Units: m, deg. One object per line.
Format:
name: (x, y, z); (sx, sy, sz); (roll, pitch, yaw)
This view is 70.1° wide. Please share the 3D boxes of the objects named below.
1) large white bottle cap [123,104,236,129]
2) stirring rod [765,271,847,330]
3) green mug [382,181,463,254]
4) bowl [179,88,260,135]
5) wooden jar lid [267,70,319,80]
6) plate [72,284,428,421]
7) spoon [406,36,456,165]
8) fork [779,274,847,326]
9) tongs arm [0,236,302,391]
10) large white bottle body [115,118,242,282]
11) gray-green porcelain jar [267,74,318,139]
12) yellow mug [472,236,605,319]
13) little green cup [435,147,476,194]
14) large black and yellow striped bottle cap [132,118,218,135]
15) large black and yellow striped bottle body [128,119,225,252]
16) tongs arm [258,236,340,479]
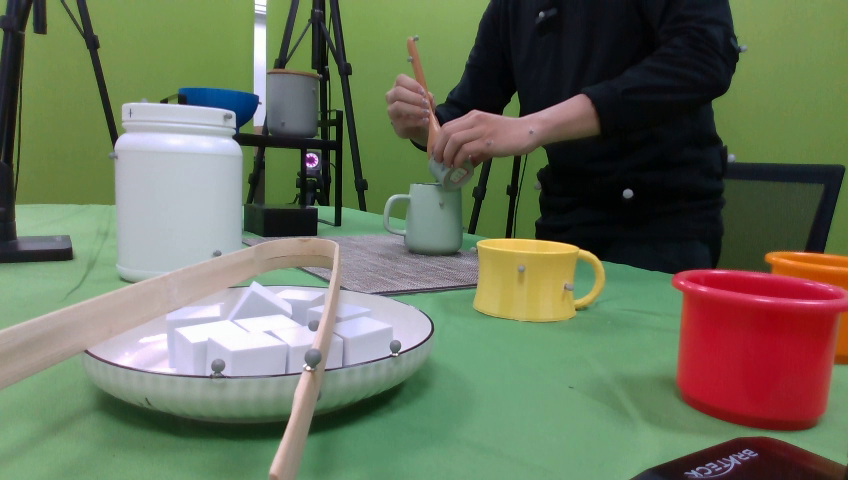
large white bottle cap: (-0.266, -0.135, 0.663); (0.115, 0.018, 0.115); (3, 7, 0)
stirring rod: (0.352, 0.020, 0.481); (0.176, 0.006, 0.014); (-40, -8, 17)
green mug: (-0.001, -0.036, 0.922); (0.126, 0.105, 0.092); (0, 8, -16)
bowl: (-0.400, -0.248, 1.188); (0.151, 0.077, 0.151); (2, 6, 0)
wooden jar lid: (-0.275, -0.340, 1.271); (0.108, 0.020, 0.108); (5, 6, 0)
plate: (-0.102, 0.067, 0.381); (0.208, 0.039, 0.207); (3, 7, 0)
spoon: (0.005, -0.196, 0.866); (0.041, 0.193, 0.021); (-17, 1, 8)
fork: (0.332, 0.018, 0.443); (0.028, 0.018, 0.207); (-2, -35, -16)
tongs arm: (-0.157, 0.038, 0.347); (0.028, 0.028, 0.388); (-2, 8, 11)
large white bottle body: (-0.270, -0.051, 0.673); (0.131, 0.184, 0.130); (2, 8, 0)
gray-green porcelain jar: (-0.277, -0.279, 1.280); (0.106, 0.126, 0.106); (2, 7, 0)
yellow mug: (0.114, 0.034, 0.590); (0.131, 0.064, 0.100); (3, 6, -7)
little green cup: (0.044, -0.098, 0.865); (0.061, 0.061, 0.038); (3, 47, 5)
large black and yellow striped bottle cap: (-0.359, -0.164, 0.875); (0.115, 0.019, 0.115); (2, 6, 0)
large black and yellow striped bottle body: (-0.361, -0.081, 0.887); (0.131, 0.184, 0.130); (2, 8, 0)
tongs arm: (-0.074, 0.040, 0.345); (0.051, 0.026, 0.384); (-1, 9, -3)
